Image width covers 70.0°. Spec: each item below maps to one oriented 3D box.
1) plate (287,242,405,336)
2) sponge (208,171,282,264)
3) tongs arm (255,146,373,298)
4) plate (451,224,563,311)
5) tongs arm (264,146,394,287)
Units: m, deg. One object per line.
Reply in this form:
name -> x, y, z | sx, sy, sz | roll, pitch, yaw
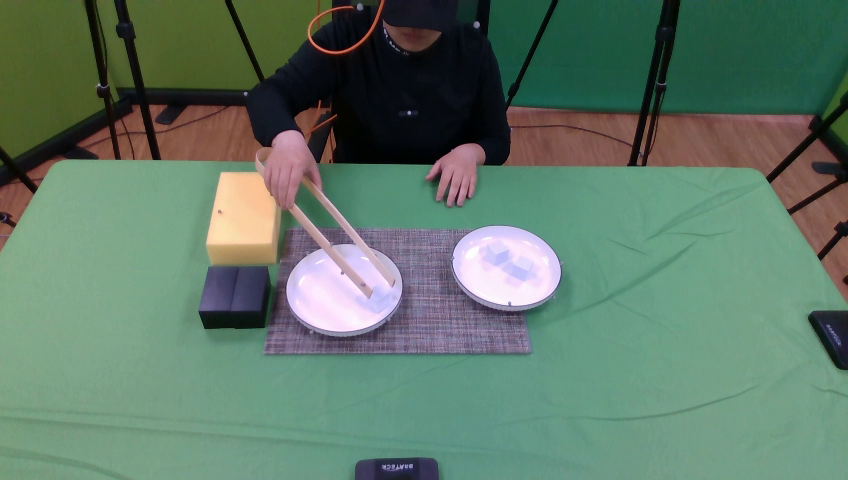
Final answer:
plate -> -0.138, 0.090, 1.085 | 0.208, 0.039, 0.206 | 2, 46, -2
sponge -> -0.346, -0.048, 1.191 | 0.118, 0.061, 0.205 | -2, 46, -7
tongs arm -> -0.202, -0.041, 1.102 | 0.051, 0.026, 0.383 | -30, 64, -36
plate -> 0.154, 0.053, 1.140 | 0.209, 0.038, 0.208 | 2, 47, -2
tongs arm -> -0.180, -0.051, 1.119 | 0.028, 0.028, 0.385 | -29, 63, -32
